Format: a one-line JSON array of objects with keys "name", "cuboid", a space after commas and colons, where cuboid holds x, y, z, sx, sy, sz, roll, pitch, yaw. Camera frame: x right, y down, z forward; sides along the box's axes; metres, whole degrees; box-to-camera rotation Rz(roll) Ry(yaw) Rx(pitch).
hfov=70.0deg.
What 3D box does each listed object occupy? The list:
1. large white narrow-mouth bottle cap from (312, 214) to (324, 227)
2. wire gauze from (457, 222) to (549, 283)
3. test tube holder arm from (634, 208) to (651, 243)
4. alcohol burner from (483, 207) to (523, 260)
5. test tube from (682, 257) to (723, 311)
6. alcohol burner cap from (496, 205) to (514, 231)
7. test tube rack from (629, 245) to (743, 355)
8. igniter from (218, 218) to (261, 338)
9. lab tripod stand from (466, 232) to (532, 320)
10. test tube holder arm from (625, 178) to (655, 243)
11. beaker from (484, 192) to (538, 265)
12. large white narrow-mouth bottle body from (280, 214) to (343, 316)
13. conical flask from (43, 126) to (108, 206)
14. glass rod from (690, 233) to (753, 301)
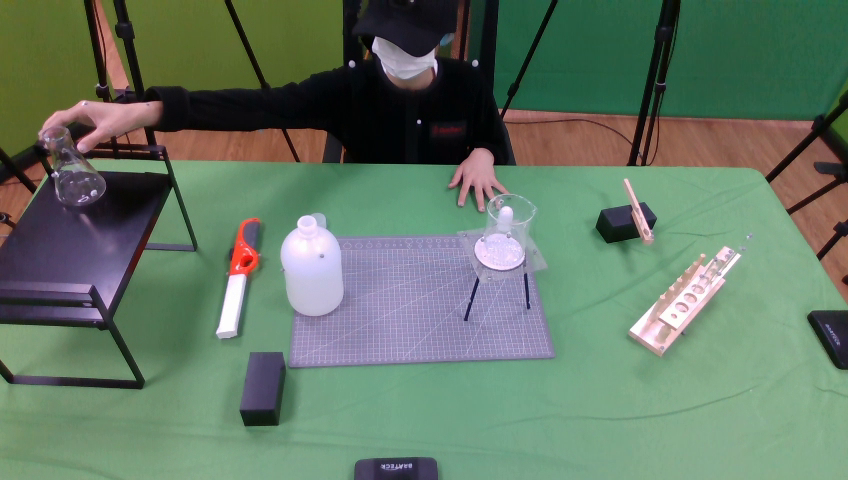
[{"name": "large white narrow-mouth bottle cap", "cuboid": [-0.219, -0.033, 1.214, 0.038, 0.024, 0.037, 2, 46, -2]}, {"name": "wire gauze", "cuboid": [0.131, 0.016, 1.017, 0.121, 0.011, 0.124, -10, 44, -16]}, {"name": "test tube holder arm", "cuboid": [0.428, -0.030, 1.189, 0.010, 0.015, 0.087, 1, 47, -2]}, {"name": "alcohol burner", "cuboid": [0.152, -0.018, 1.156, 0.078, 0.120, 0.077, 0, 47, 0]}, {"name": "test tube", "cuboid": [0.475, 0.080, 1.037, 0.017, 0.151, 0.017, 1, 51, -1]}, {"name": "alcohol burner cap", "cuboid": [0.153, -0.044, 1.131, 0.034, 0.048, 0.033, 2, 40, -1]}, {"name": "test tube rack", "cuboid": [0.474, 0.095, 1.091, 0.242, 0.085, 0.066, -34, 56, -31]}, {"name": "igniter", "cuboid": [-0.336, 0.060, 1.111, 0.057, 0.025, 0.274, -7, 46, 4]}, {"name": "lab tripod stand", "cuboid": [0.125, 0.059, 1.065, 0.148, 0.132, 0.147, 1, 45, 0]}, {"name": "test tube holder arm", "cuboid": [0.433, -0.062, 1.220, 0.013, 0.015, 0.177, 1, 47, -3]}, {"name": "beaker", "cuboid": [0.137, -0.016, 0.980, 0.084, 0.101, 0.073, -6, 45, -9]}, {"name": "large white narrow-mouth bottle body", "cuboid": [-0.190, 0.035, 1.025, 0.102, 0.195, 0.101, 2, 46, -2]}, {"name": "conical flask", "cuboid": [-0.555, -0.119, 0.953, 0.075, 0.122, 0.075, 2, 46, -2]}, {"name": "glass rod", "cuboid": [0.507, 0.053, 1.041, 0.008, 0.200, 0.008, 5, 51, -6]}]
